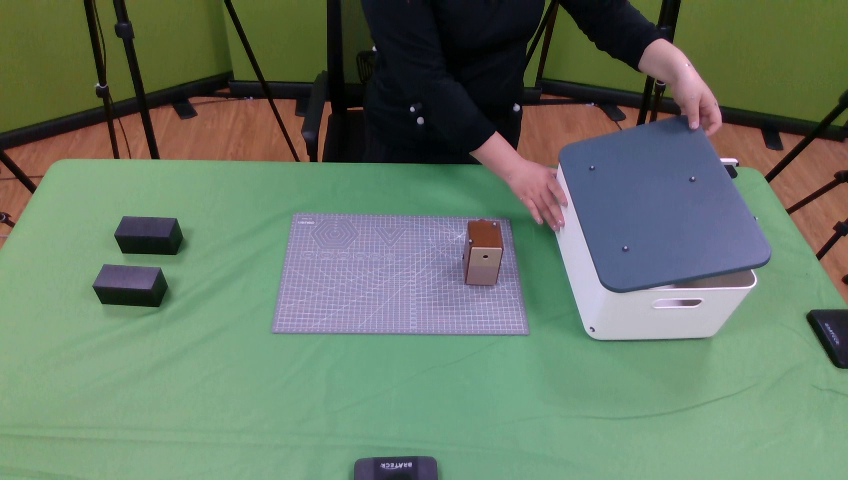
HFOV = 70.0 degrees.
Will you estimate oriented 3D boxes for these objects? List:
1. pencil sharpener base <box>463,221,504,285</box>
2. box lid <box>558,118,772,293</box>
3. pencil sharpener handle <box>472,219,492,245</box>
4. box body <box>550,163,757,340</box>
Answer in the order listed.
[{"bbox_3d":[0.107,0.024,1.119,0.061,0.107,0.076,1,45,-2],"label":"pencil sharpener base"},{"bbox_3d":[0.394,-0.073,1.046,0.263,0.015,0.369,-13,46,7],"label":"box lid"},{"bbox_3d":[0.104,-0.021,1.146,0.036,0.068,0.030,7,44,-8],"label":"pencil sharpener handle"},{"bbox_3d":[0.395,0.003,1.127,0.254,0.161,0.361,-1,46,-5],"label":"box body"}]
